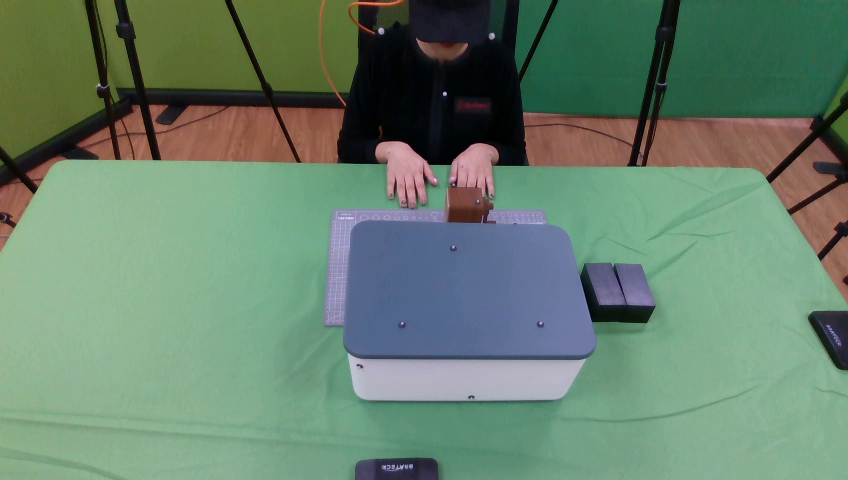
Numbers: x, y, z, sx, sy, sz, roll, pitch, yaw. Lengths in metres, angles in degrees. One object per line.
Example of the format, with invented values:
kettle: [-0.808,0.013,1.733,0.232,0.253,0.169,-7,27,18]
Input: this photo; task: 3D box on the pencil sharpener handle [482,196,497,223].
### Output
pencil sharpener handle: [0.130,-0.055,1.182,0.031,0.068,0.036,2,43,-3]

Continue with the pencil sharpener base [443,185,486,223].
pencil sharpener base: [0.078,-0.049,1.188,0.077,0.107,0.061,2,46,-3]

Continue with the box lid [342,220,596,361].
box lid: [0.066,0.070,0.934,0.372,0.015,0.261,1,48,-4]

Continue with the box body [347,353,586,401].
box body: [0.060,0.120,0.989,0.364,0.161,0.252,1,47,-4]
